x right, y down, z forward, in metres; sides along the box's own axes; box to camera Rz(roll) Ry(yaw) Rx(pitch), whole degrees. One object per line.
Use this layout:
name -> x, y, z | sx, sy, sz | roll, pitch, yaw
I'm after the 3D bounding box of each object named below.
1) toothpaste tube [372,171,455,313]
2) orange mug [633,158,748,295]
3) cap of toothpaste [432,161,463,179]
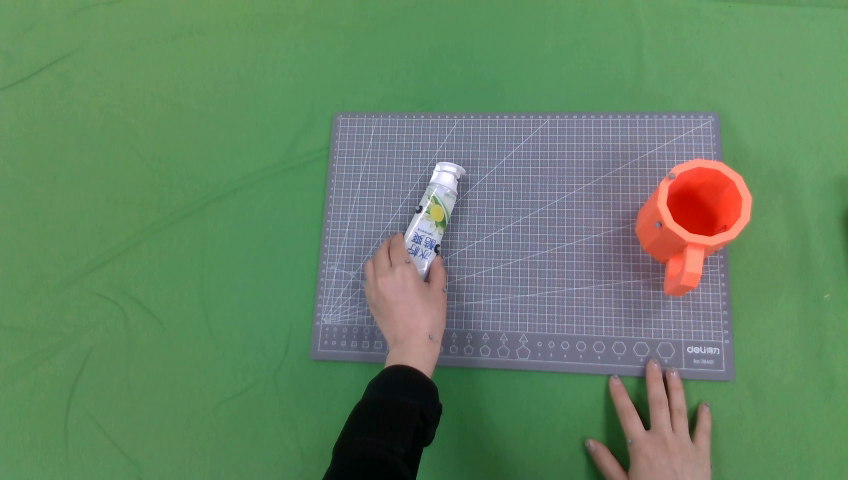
toothpaste tube -> -0.004, -0.005, 0.677 | 0.055, 0.034, 0.164 | 21, 81, 0
orange mug -> 0.265, -0.010, 0.615 | 0.083, 0.101, 0.125 | 10, 73, 9
cap of toothpaste -> 0.026, -0.079, 0.690 | 0.037, 0.037, 0.011 | 9, 76, 9
